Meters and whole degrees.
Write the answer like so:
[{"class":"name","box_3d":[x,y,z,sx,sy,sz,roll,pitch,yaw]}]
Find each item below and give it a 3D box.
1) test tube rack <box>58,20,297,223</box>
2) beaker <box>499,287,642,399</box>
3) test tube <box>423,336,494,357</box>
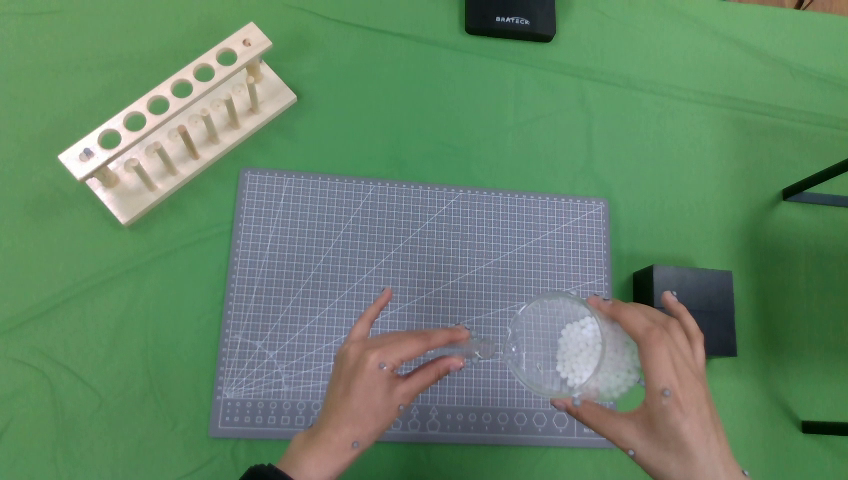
[{"class":"test tube rack","box_3d":[-0.256,-0.128,0.663,0.242,0.085,0.066,-41,85,-16]},{"class":"beaker","box_3d":[0.115,0.083,0.458,0.084,0.101,0.073,-18,65,32]},{"class":"test tube","box_3d":[0.026,0.093,0.527,0.017,0.150,0.017,3,79,-16]}]
